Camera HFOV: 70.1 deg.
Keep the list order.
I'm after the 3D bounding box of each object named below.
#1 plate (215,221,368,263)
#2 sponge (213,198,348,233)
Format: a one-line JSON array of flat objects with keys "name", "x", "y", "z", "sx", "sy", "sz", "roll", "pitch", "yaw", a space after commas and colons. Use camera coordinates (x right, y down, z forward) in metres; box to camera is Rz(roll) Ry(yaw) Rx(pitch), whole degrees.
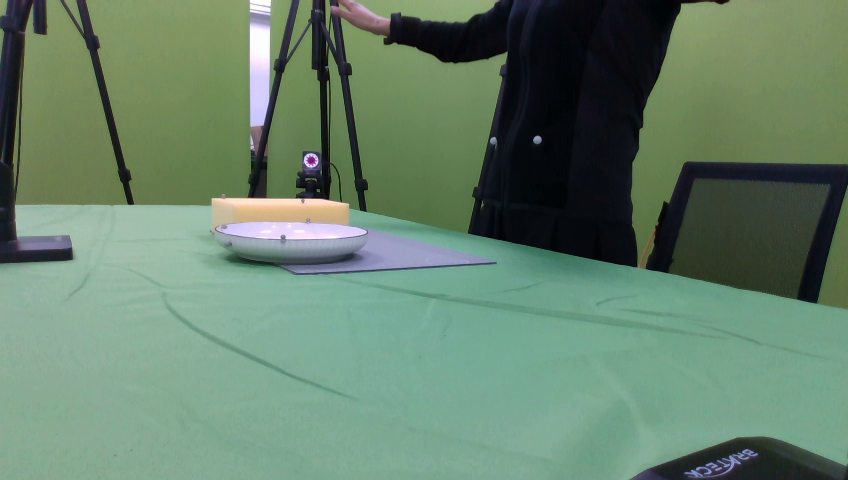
[{"name": "plate", "x": -0.182, "y": 0.002, "z": 0.846, "sx": 0.209, "sy": 0.038, "sz": 0.209, "roll": 2, "pitch": 7, "yaw": 0}, {"name": "sponge", "x": -0.251, "y": -0.039, "z": 1.059, "sx": 0.208, "sy": 0.061, "sz": 0.117, "roll": -3, "pitch": 9, "yaw": -36}]
